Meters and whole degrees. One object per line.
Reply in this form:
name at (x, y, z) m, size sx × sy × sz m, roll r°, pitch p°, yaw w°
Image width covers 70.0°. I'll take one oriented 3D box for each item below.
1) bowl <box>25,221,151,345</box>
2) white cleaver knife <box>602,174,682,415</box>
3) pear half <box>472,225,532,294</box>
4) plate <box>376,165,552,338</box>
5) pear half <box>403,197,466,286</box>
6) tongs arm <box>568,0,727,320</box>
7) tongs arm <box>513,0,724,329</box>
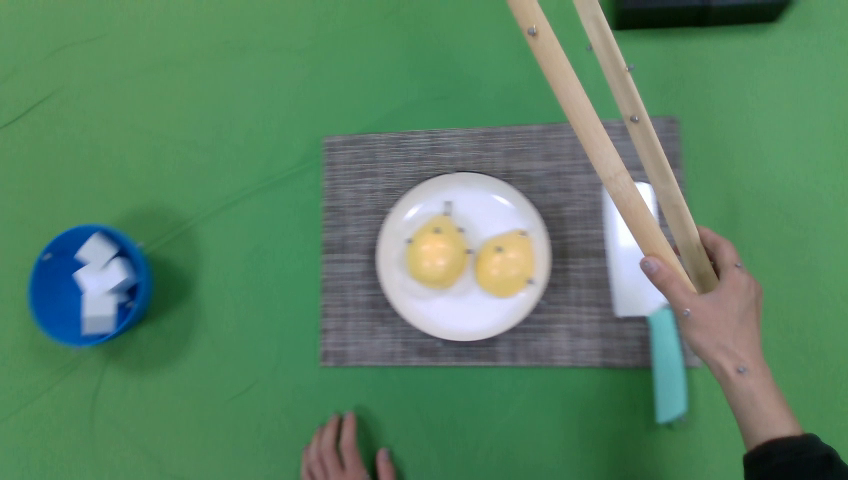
bowl at (-0.404, 0.057, 0.761) m, size 0.151 × 0.077 × 0.151 m, roll -1°, pitch 80°, yaw 7°
white cleaver knife at (0.254, 0.059, 0.713) m, size 0.065 × 0.022 × 0.285 m, roll -10°, pitch 75°, yaw 26°
pear half at (0.094, 0.020, 0.718) m, size 0.070 × 0.031 × 0.088 m, roll 31°, pitch 91°, yaw 7°
plate at (0.047, 0.014, 0.730) m, size 0.207 × 0.039 × 0.207 m, roll -1°, pitch 80°, yaw 7°
pear half at (0.015, -0.003, 0.723) m, size 0.076 × 0.056 × 0.109 m, roll 9°, pitch 77°, yaw 5°
tongs arm at (0.212, -0.101, 0.605) m, size 0.026 × 0.051 × 0.383 m, roll -27°, pitch 82°, yaw 38°
tongs arm at (0.167, -0.086, 0.548) m, size 0.028 × 0.028 × 0.387 m, roll -27°, pitch 93°, yaw 34°
